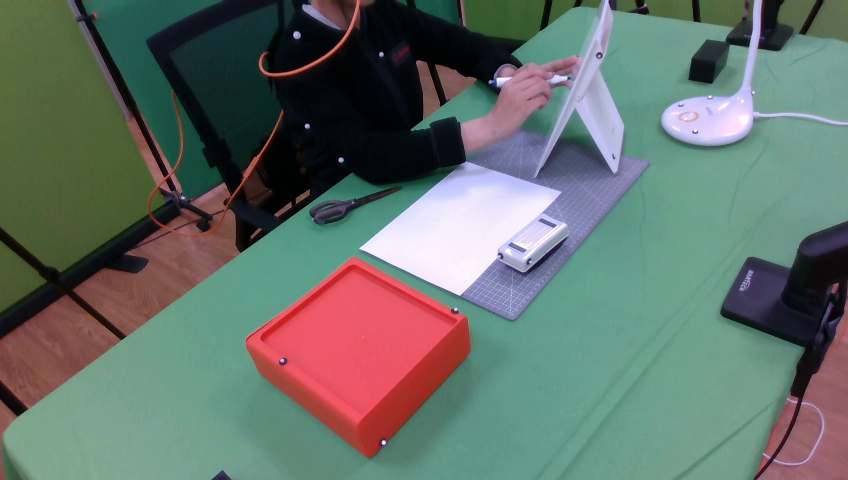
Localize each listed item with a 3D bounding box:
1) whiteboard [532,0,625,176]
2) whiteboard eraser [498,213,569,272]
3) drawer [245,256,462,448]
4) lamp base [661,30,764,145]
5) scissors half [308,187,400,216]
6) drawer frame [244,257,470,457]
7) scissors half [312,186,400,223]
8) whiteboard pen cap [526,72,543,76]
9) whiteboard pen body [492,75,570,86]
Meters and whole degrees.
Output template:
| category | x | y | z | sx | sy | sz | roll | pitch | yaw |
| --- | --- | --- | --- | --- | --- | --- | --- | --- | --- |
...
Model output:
| category | x | y | z | sx | sy | sz | roll | pitch | yaw |
| --- | --- | --- | --- | --- | --- | --- | --- | --- | --- |
| whiteboard | 0.320 | -0.258 | 1.050 | 0.144 | 0.306 | 0.217 | 21 | 45 | 5 |
| whiteboard eraser | 0.168 | 0.006 | 0.924 | 0.113 | 0.042 | 0.055 | -36 | 48 | -28 |
| drawer | -0.089 | 0.136 | 0.792 | 0.210 | 0.073 | 0.195 | 26 | 51 | 34 |
| lamp base | 0.535 | -0.287 | 1.096 | 0.179 | 0.181 | 0.159 | -10 | 40 | -4 |
| scissors half | -0.126 | -0.075 | 1.104 | 0.176 | 0.013 | 0.039 | -15 | 29 | -10 |
| drawer frame | -0.084 | 0.138 | 0.788 | 0.212 | 0.083 | 0.202 | 25 | 50 | 33 |
| scissors half | -0.119 | -0.066 | 1.088 | 0.176 | 0.013 | 0.040 | -25 | 38 | -24 |
| whiteboard pen cap | 0.213 | -0.314 | 1.163 | 0.033 | 0.018 | 0.018 | -6 | 32 | -38 |
| whiteboard pen body | 0.193 | -0.288 | 1.088 | 0.141 | 0.017 | 0.017 | -2 | 41 | 2 |
